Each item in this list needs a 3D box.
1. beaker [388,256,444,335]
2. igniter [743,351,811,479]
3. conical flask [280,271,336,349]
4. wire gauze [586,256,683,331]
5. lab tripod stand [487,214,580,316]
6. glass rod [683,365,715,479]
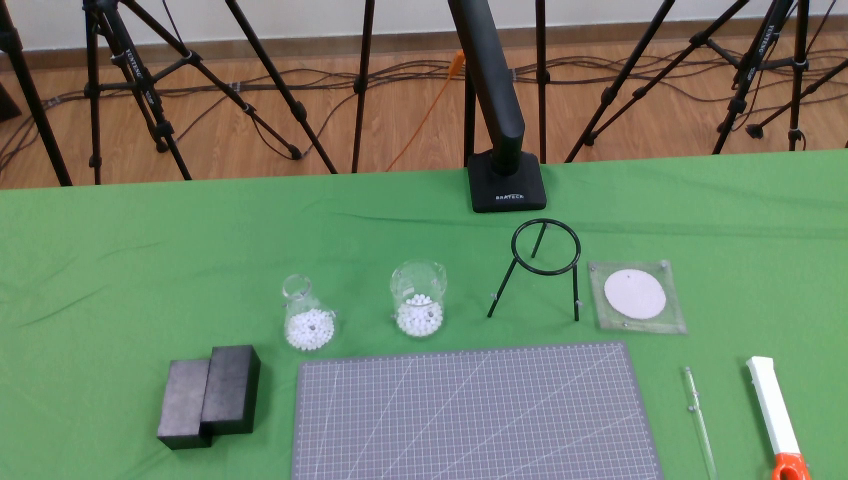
[{"bbox_3d":[-0.007,0.078,0.828,0.084,0.101,0.073,-36,62,-23],"label":"beaker"},{"bbox_3d":[0.441,0.265,0.736,0.057,0.025,0.274,7,55,-7],"label":"igniter"},{"bbox_3d":[-0.162,0.089,0.808,0.075,0.123,0.074,0,55,1],"label":"conical flask"},{"bbox_3d":[0.306,0.074,0.884,0.125,0.011,0.120,2,55,0],"label":"wire gauze"},{"bbox_3d":[0.154,0.040,0.832,0.148,0.132,0.147,0,57,1],"label":"lab tripod stand"},{"bbox_3d":[0.349,0.251,0.758,0.008,0.008,0.198,0,58,0],"label":"glass rod"}]
